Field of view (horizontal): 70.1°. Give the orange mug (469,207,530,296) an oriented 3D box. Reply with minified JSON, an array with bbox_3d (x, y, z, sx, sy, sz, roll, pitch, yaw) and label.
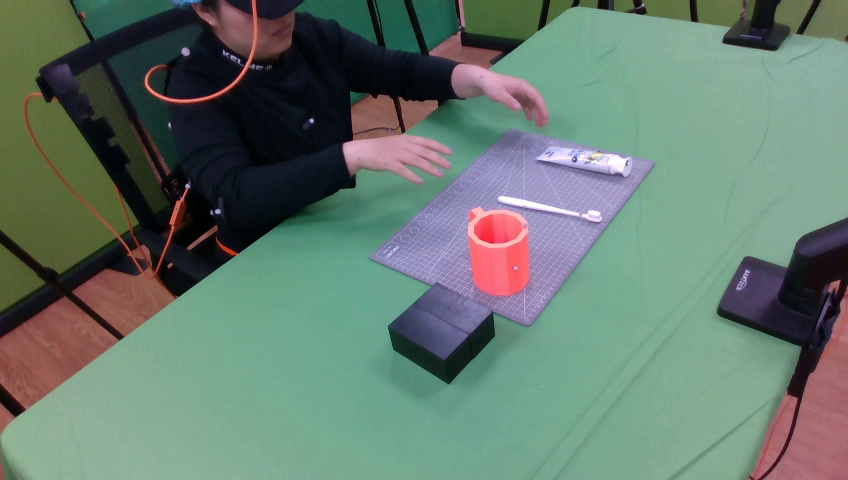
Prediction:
[{"bbox_3d":[0.104,0.008,0.894,0.084,0.101,0.125,-22,46,-14],"label":"orange mug"}]

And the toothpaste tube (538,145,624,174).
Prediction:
[{"bbox_3d":[0.292,-0.148,1.097,0.164,0.034,0.055,17,40,34],"label":"toothpaste tube"}]

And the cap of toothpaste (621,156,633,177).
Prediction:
[{"bbox_3d":[0.352,-0.128,1.051,0.011,0.037,0.037,18,47,35],"label":"cap of toothpaste"}]

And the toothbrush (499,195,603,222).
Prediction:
[{"bbox_3d":[0.209,-0.055,1.010,0.180,0.017,0.014,14,61,27],"label":"toothbrush"}]
